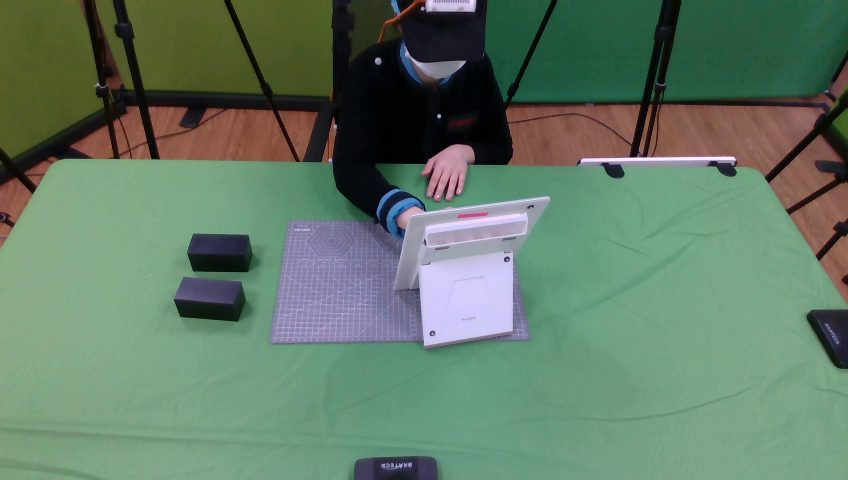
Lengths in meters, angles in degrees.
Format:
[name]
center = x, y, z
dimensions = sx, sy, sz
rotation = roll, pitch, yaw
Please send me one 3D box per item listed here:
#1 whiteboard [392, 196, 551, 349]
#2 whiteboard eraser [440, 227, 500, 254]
[whiteboard]
center = 0.077, 0.071, 0.977
dimensions = 0.217, 0.306, 0.143
rotation = -7, 67, -11
[whiteboard eraser]
center = 0.077, 0.001, 1.012
dimensions = 0.101, 0.041, 0.018
rotation = -15, 66, 13
